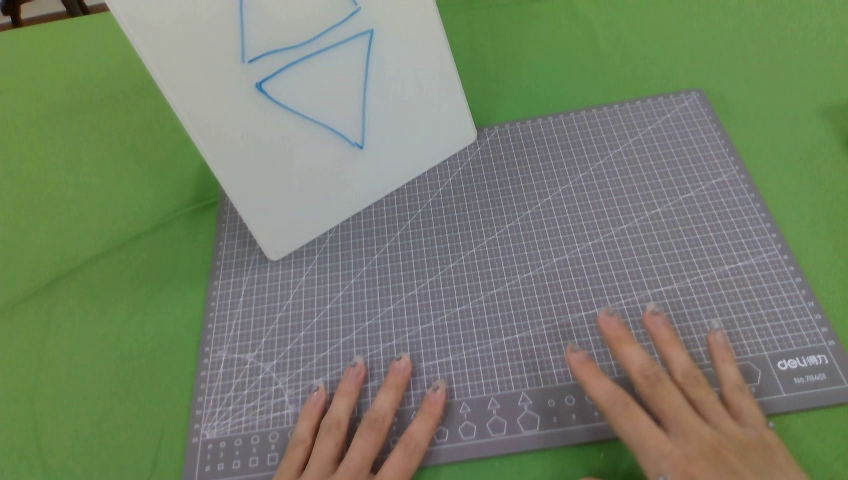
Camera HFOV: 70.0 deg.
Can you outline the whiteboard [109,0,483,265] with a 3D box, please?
[{"bbox_3d":[-0.115,-0.178,0.492,0.217,0.308,0.142,-32,35,-13],"label":"whiteboard"}]
